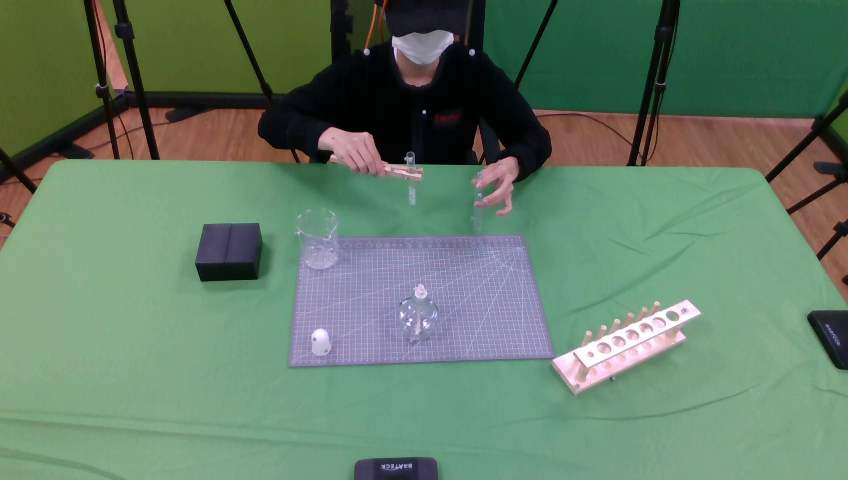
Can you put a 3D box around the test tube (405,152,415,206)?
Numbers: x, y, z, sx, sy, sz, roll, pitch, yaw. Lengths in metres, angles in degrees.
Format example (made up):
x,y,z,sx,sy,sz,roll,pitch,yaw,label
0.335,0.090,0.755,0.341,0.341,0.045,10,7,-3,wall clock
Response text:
x,y,z,sx,sy,sz,roll,pitch,yaw,label
-0.026,-0.114,1.160,0.017,0.151,0.017,0,56,0,test tube

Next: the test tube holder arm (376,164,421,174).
x,y,z,sx,sy,sz,roll,pitch,yaw,label
-0.049,-0.132,1.147,0.088,0.015,0.010,5,49,1,test tube holder arm

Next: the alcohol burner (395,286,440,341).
x,y,z,sx,sy,sz,roll,pitch,yaw,label
-0.010,0.116,1.018,0.078,0.119,0.077,3,47,-3,alcohol burner

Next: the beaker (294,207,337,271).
x,y,z,sx,sy,sz,roll,pitch,yaw,label
-0.196,0.003,1.123,0.074,0.101,0.083,-23,53,-24,beaker

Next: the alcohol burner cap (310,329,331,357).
x,y,z,sx,sy,sz,roll,pitch,yaw,label
-0.173,0.168,1.005,0.034,0.048,0.033,2,46,-2,alcohol burner cap

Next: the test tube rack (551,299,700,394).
x,y,z,sx,sy,sz,roll,pitch,yaw,label
0.339,0.166,1.021,0.242,0.085,0.066,-19,50,-21,test tube rack

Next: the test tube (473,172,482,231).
x,y,z,sx,sy,sz,roll,pitch,yaw,label
0.102,-0.070,1.159,0.017,0.151,0.017,-2,48,2,test tube

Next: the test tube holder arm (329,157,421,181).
x,y,z,sx,sy,sz,roll,pitch,yaw,label
-0.094,-0.134,1.146,0.178,0.015,0.013,10,48,5,test tube holder arm
